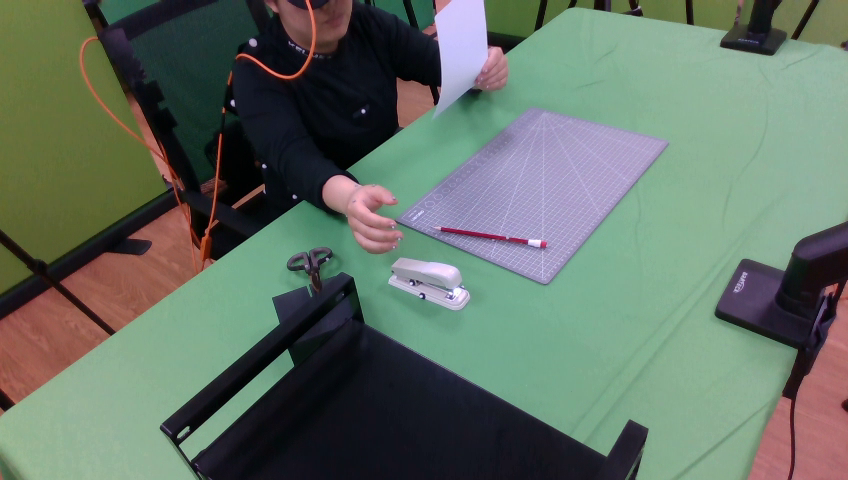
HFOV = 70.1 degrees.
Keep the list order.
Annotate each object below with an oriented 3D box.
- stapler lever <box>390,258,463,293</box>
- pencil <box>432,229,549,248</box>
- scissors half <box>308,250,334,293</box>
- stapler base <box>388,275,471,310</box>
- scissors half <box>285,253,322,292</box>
[{"bbox_3d":[0.003,0.046,0.881,0.117,0.040,0.027,17,44,29],"label":"stapler lever"},{"bbox_3d":[0.103,-0.005,0.970,0.193,0.012,0.012,8,42,18],"label":"pencil"},{"bbox_3d":[-0.158,0.046,0.913,0.040,0.013,0.174,-8,19,-4],"label":"scissors half"},{"bbox_3d":[0.007,0.066,0.897,0.129,0.024,0.041,17,44,29],"label":"stapler base"},{"bbox_3d":[-0.178,0.050,0.909,0.040,0.013,0.174,-19,21,-20],"label":"scissors half"}]
